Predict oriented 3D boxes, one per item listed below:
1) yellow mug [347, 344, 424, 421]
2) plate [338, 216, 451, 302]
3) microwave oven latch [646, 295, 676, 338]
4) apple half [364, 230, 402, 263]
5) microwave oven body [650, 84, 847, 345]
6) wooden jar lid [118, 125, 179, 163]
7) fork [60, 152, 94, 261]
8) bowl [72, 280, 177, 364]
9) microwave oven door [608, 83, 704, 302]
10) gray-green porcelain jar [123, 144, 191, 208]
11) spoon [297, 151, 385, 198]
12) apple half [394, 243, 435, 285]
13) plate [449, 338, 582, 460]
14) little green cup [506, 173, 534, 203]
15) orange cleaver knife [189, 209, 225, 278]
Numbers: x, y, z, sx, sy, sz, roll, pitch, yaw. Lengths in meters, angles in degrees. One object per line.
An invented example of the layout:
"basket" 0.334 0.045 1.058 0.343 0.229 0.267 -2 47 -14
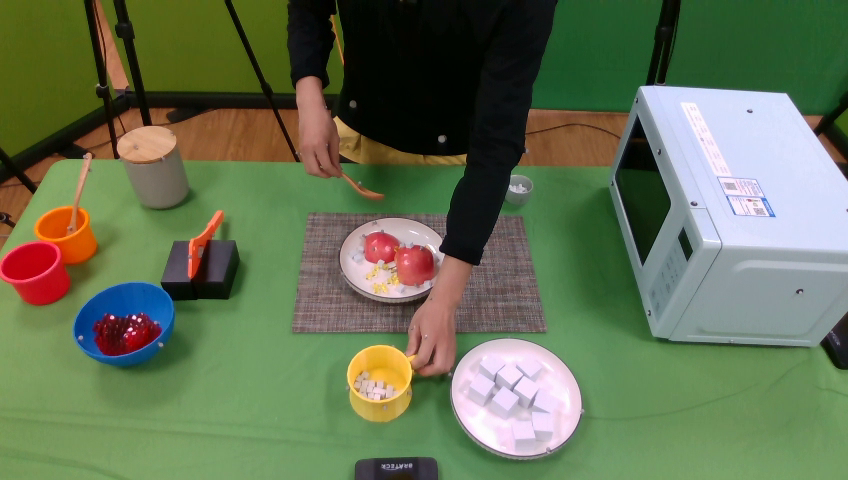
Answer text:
"yellow mug" -0.056 0.216 0.952 0.131 0.064 0.099 -25 54 -23
"plate" -0.054 0.038 1.138 0.209 0.038 0.208 2 46 -2
"microwave oven latch" 0.413 0.133 1.060 0.030 0.029 0.078 4 46 1
"apple half" -0.079 0.004 1.160 0.081 0.033 0.081 3 49 -3
"microwave oven body" 0.569 -0.054 1.116 0.326 0.261 0.439 2 46 -1
"wooden jar lid" -0.528 -0.181 1.167 0.108 0.021 0.107 4 48 -4
"fork" -0.638 -0.063 1.119 0.028 0.018 0.207 12 90 6
"bowl" -0.472 0.147 0.982 0.151 0.077 0.150 2 46 -2
"microwave oven door" 0.425 -0.096 1.138 0.039 0.245 0.353 2 47 -1
"gray-green porcelain jar" -0.530 -0.137 1.213 0.106 0.127 0.105 2 46 -2
"spoon" -0.158 -0.125 1.141 0.193 0.021 0.041 32 18 12
"apple half" -0.017 0.037 1.121 0.075 0.053 0.080 1 46 -6
"plate" 0.141 0.251 0.955 0.208 0.039 0.206 2 46 -2
"little green cup" 0.205 -0.110 1.303 0.061 0.039 0.061 1 45 -1
"orange cleaver knife" -0.400 0.002 1.122 0.012 0.077 0.210 4 23 -4
